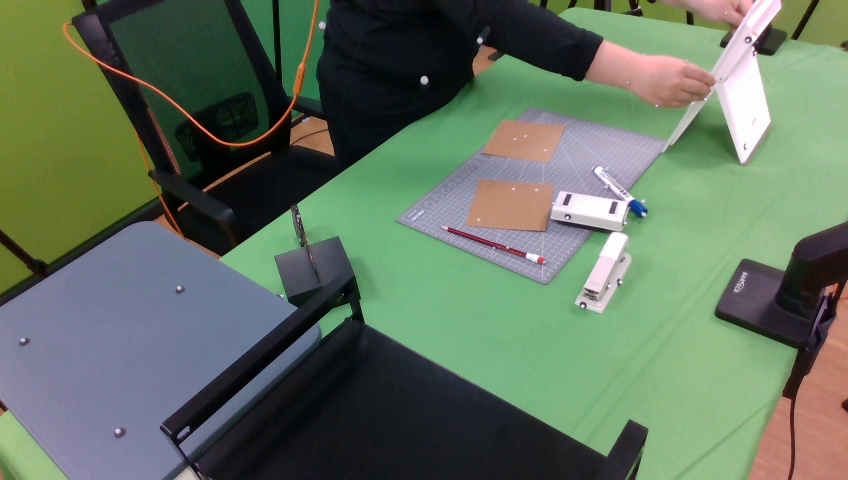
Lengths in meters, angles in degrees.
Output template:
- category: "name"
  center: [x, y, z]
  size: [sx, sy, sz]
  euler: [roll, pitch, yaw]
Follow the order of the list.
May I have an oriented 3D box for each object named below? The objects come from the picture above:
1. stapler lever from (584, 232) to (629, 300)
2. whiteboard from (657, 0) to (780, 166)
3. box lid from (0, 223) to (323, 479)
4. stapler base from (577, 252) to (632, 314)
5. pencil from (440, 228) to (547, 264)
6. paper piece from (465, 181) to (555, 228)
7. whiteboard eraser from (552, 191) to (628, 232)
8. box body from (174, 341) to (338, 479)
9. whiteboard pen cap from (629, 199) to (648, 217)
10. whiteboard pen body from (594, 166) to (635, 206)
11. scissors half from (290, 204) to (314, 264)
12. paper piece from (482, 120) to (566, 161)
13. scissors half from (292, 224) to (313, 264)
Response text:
- category: "stapler lever"
  center: [0.261, 0.034, 0.858]
  size: [0.026, 0.040, 0.118]
  euler: [16, 46, 30]
- category: "whiteboard"
  center: [0.571, -0.272, 1.038]
  size: [0.143, 0.306, 0.218]
  euler: [37, 54, 17]
- category: "box lid"
  center: [-0.318, 0.109, 0.671]
  size: [0.368, 0.015, 0.264]
  euler: [24, 49, 31]
- category: "stapler base"
  center: [0.264, 0.051, 0.875]
  size: [0.041, 0.024, 0.131]
  euler: [16, 47, 30]
- category: "pencil"
  center: [0.105, 0.007, 0.957]
  size: [0.192, 0.012, 0.012]
  euler: [18, 46, 30]
- category: "paper piece"
  center: [0.149, -0.062, 1.034]
  size: [0.137, 0.009, 0.136]
  euler: [4, 37, 17]
- category: "whiteboard eraser"
  center: [0.266, -0.044, 0.967]
  size: [0.112, 0.042, 0.055]
  euler: [11, 42, 20]
- category: "box body"
  center: [-0.311, 0.165, 0.720]
  size: [0.361, 0.161, 0.255]
  euler: [23, 48, 32]
- category: "whiteboard pen cap"
  center: [0.348, -0.052, 0.984]
  size: [0.018, 0.018, 0.033]
  euler: [-18, 44, -12]
- category: "whiteboard pen body"
  center: [0.331, -0.086, 1.027]
  size: [0.017, 0.017, 0.139]
  euler: [-16, 41, -10]
- category: "scissors half"
  center: [-0.190, -0.010, 0.945]
  size: [0.013, 0.040, 0.173]
  euler: [-12, 37, -17]
- category: "paper piece"
  center: [0.197, -0.199, 1.188]
  size: [0.135, 0.004, 0.135]
  euler: [11, 43, 21]
- category: "scissors half"
  center: [-0.189, 0.007, 0.955]
  size: [0.013, 0.040, 0.174]
  euler: [-17, 21, -14]
